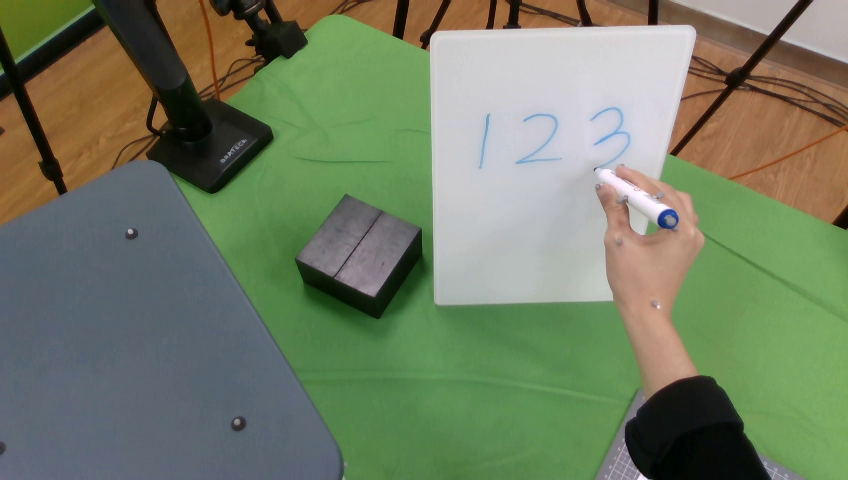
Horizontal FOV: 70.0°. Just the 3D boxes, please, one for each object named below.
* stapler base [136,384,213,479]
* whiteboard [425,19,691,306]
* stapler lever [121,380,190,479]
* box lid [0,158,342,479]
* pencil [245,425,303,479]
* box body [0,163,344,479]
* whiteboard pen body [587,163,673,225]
[{"bbox_3d":[-0.241,0.196,0.567,0.041,0.025,0.129,1,60,23],"label":"stapler base"},{"bbox_3d":[0.111,-0.093,0.629,0.217,0.308,0.142,-1,38,0],"label":"whiteboard"},{"bbox_3d":[-0.248,0.184,0.547,0.026,0.040,0.117,1,58,23],"label":"stapler lever"},{"bbox_3d":[-0.260,0.103,0.467,0.263,0.015,0.368,-31,64,-18],"label":"box lid"},{"bbox_3d":[-0.180,0.241,0.547,0.012,0.012,0.193,32,52,19],"label":"pencil"},{"bbox_3d":[-0.258,0.143,0.529,0.254,0.162,0.360,-32,63,-18],"label":"box body"},{"bbox_3d":[0.165,-0.044,0.502,0.017,0.017,0.139,-10,24,-6],"label":"whiteboard pen body"}]
